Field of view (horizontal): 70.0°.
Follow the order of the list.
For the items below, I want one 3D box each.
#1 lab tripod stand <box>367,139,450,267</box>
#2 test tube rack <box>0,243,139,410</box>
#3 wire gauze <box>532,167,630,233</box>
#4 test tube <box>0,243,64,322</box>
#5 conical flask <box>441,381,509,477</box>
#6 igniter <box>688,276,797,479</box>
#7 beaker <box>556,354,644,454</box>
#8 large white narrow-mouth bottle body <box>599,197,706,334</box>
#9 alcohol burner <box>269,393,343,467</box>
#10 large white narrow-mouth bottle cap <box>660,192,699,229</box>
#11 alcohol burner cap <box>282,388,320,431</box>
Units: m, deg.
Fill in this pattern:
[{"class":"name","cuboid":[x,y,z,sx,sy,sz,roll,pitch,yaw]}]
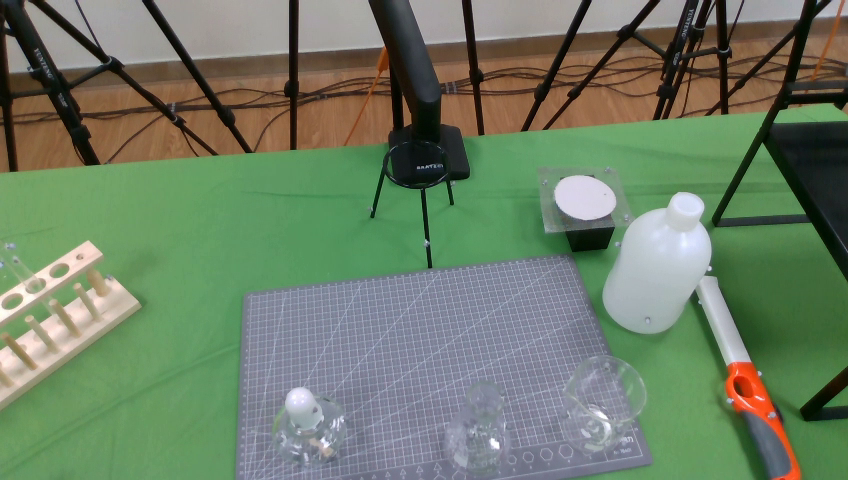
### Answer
[{"class":"lab tripod stand","cuboid":[-0.012,-0.056,0.826,0.148,0.132,0.147,2,51,-2]},{"class":"test tube rack","cuboid":[-0.472,0.116,0.708,0.066,0.086,0.242,34,58,24]},{"class":"wire gauze","cuboid":[0.217,-0.060,0.849,0.121,0.011,0.124,-1,50,-1]},{"class":"test tube","cuboid":[-0.454,0.053,0.696,0.017,0.151,0.017,1,53,-1]},{"class":"conical flask","cuboid":[0.056,0.190,0.628,0.075,0.123,0.074,0,50,0]},{"class":"igniter","cuboid":[0.374,0.158,0.724,0.057,0.025,0.273,4,50,-10]},{"class":"beaker","cuboid":[0.182,0.180,0.652,0.084,0.101,0.073,-3,50,-1]},{"class":"large white narrow-mouth bottle body","cuboid":[0.277,0.024,0.724,0.102,0.196,0.101,0,50,0]},{"class":"alcohol burner","cuboid":[-0.124,0.189,0.632,0.078,0.120,0.077,2,49,-2]},{"class":"large white narrow-mouth bottle cap","cuboid":[0.277,-0.033,0.659,0.038,0.024,0.037,0,50,0]},{"class":"alcohol burner cap","cuboid":[-0.124,0.167,0.603,0.034,0.048,0.033,-3,51,4]}]
